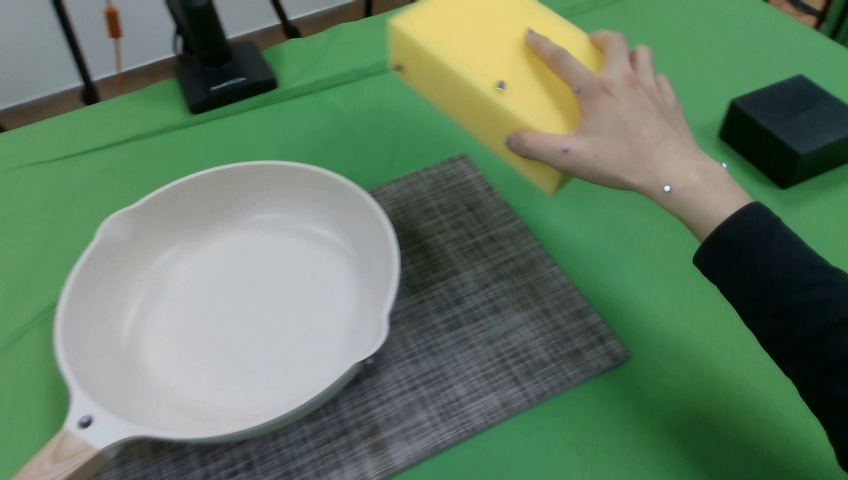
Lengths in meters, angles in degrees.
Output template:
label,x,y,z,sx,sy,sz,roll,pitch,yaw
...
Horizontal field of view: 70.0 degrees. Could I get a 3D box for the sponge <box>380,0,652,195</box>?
label,x,y,z,sx,sy,sz,roll,pitch,yaw
sponge,0.074,-0.148,0.533,0.205,0.061,0.118,40,66,18

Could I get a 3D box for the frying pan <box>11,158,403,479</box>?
label,x,y,z,sx,sy,sz,roll,pitch,yaw
frying pan,-0.213,0.107,0.480,0.305,0.103,0.486,21,47,23
